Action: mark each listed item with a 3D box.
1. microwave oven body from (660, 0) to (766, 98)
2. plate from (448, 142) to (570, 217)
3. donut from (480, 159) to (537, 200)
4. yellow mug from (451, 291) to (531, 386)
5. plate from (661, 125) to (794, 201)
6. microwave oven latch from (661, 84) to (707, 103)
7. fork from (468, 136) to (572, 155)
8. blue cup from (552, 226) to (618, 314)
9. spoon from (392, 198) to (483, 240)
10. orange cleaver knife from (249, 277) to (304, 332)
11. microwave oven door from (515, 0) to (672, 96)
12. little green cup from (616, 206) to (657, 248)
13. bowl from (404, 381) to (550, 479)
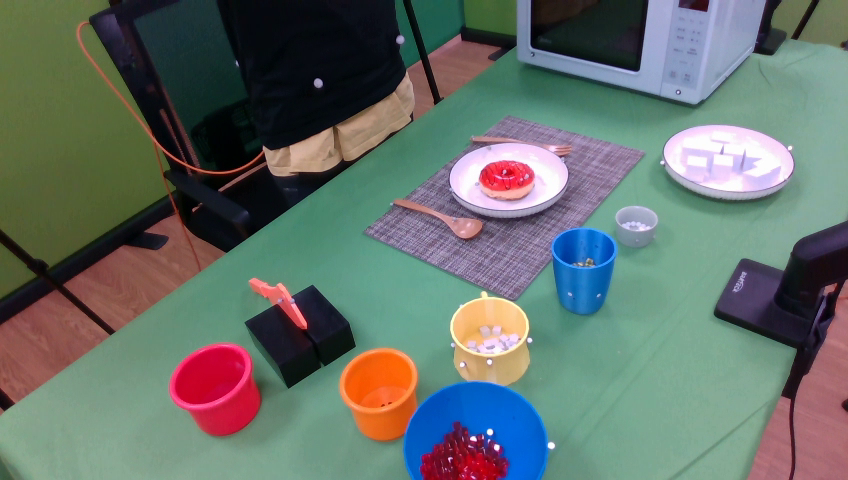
[{"bbox_3d":[0.472,-0.513,1.317,0.438,0.261,0.327,26,51,34],"label":"microwave oven body"},{"bbox_3d":[0.148,-0.101,1.053,0.209,0.038,0.208,-4,40,4],"label":"plate"},{"bbox_3d":[0.145,-0.106,1.042,0.099,0.048,0.098,-4,38,4],"label":"donut"},{"bbox_3d":[0.085,0.120,0.786,0.100,0.064,0.130,-7,39,1],"label":"yellow mug"},{"bbox_3d":[0.513,-0.128,1.035,0.207,0.039,0.206,-4,40,4],"label":"plate"},{"bbox_3d":[0.517,-0.296,1.204,0.078,0.029,0.030,27,52,35],"label":"microwave oven latch"},{"bbox_3d":[0.181,-0.184,1.160,0.206,0.019,0.028,13,60,21],"label":"fork"},{"bbox_3d":[0.218,0.047,0.826,0.092,0.101,0.092,-6,40,5],"label":"blue cup"},{"bbox_3d":[0.018,-0.042,1.016,0.192,0.022,0.041,24,74,31],"label":"spoon"},{"bbox_3d":[-0.210,0.089,0.855,0.012,0.077,0.210,-27,14,-25],"label":"orange cleaver knife"},{"bbox_3d":[0.344,-0.455,1.259,0.353,0.245,0.039,26,51,33],"label":"microwave oven door"},{"bbox_3d":[0.327,-0.019,0.935,0.061,0.039,0.061,-4,40,4],"label":"little green cup"},{"bbox_3d":[0.058,0.235,0.645,0.151,0.077,0.150,-4,39,4],"label":"bowl"}]
